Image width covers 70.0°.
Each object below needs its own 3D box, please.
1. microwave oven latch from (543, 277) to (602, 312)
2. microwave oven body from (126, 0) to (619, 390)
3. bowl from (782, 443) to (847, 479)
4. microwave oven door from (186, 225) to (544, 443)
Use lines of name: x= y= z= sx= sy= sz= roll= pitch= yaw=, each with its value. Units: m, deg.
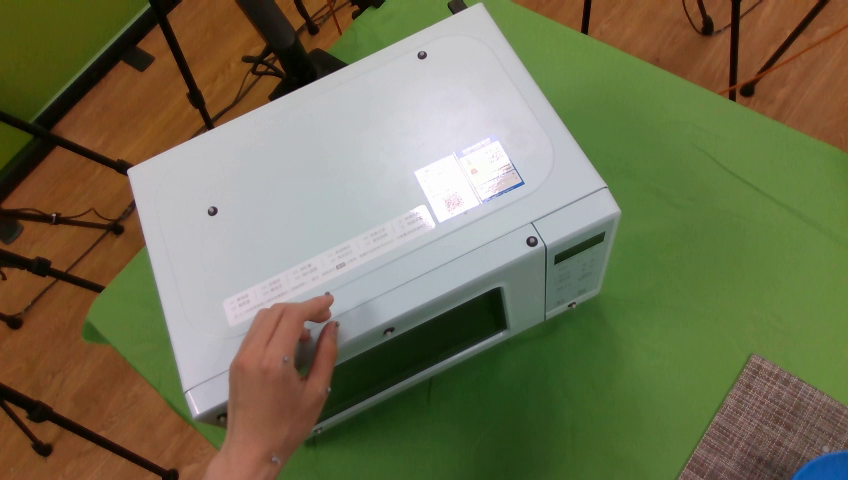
microwave oven latch: x=0.180 y=0.060 z=0.754 sx=0.079 sy=0.030 sz=0.030 roll=-25 pitch=65 yaw=0
microwave oven body: x=-0.056 y=-0.020 z=0.724 sx=0.442 sy=0.262 sz=0.323 roll=-26 pitch=65 yaw=-1
bowl: x=0.423 y=0.284 z=0.605 sx=0.151 sy=0.077 sz=0.150 roll=-4 pitch=66 yaw=9
microwave oven door: x=-0.036 y=0.114 z=0.657 sx=0.356 sy=0.246 sz=0.039 roll=-26 pitch=64 yaw=-2
